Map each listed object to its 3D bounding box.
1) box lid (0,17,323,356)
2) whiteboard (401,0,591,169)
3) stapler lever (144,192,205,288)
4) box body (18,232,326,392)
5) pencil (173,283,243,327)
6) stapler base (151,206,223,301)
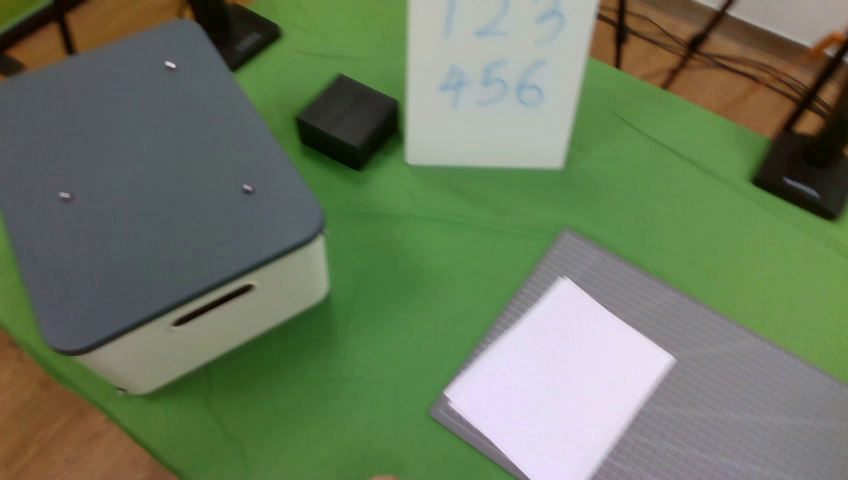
[{"bbox_3d":[-0.297,-0.085,0.617,0.263,0.015,0.368,-29,64,-19],"label":"box lid"},{"bbox_3d":[0.082,-0.262,0.784,0.217,0.308,0.142,2,38,0],"label":"whiteboard"},{"bbox_3d":[-0.289,-0.003,0.697,0.026,0.040,0.117,5,59,21],"label":"stapler lever"},{"bbox_3d":[-0.297,-0.044,0.679,0.254,0.161,0.360,-29,63,-18],"label":"box body"},{"bbox_3d":[-0.224,0.057,0.699,0.012,0.012,0.194,35,51,19],"label":"pencil"},{"bbox_3d":[-0.283,0.009,0.718,0.041,0.025,0.129,5,60,21],"label":"stapler base"}]
